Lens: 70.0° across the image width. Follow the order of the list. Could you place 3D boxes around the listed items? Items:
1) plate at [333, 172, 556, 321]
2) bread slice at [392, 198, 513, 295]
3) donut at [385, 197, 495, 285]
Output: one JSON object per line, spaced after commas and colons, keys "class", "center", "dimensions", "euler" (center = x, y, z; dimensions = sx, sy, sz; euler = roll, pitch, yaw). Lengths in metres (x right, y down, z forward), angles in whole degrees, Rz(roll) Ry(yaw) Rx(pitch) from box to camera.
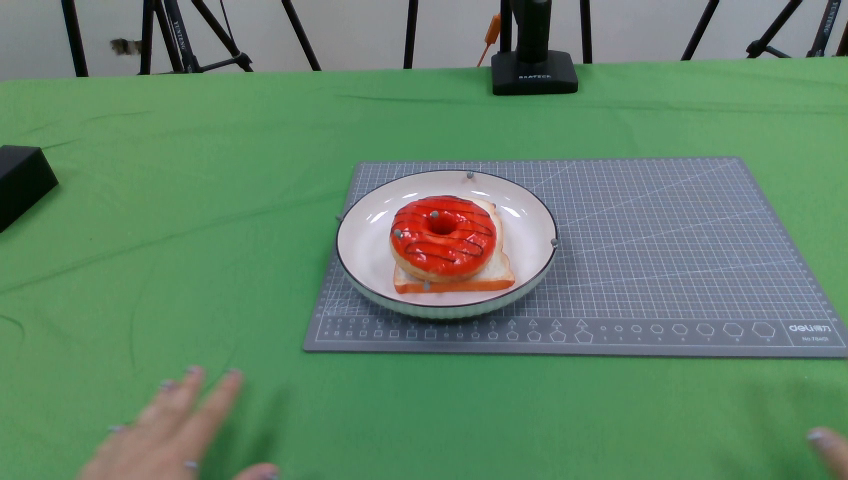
{"class": "plate", "center": [0.019, 0.005, 0.578], "dimensions": [0.209, 0.038, 0.207], "euler": [-2, 39, 2]}
{"class": "bread slice", "center": [0.021, 0.003, 0.583], "dimensions": [0.107, 0.018, 0.133], "euler": [-3, 39, -2]}
{"class": "donut", "center": [0.014, 0.000, 0.542], "dimensions": [0.099, 0.048, 0.098], "euler": [0, 42, 0]}
